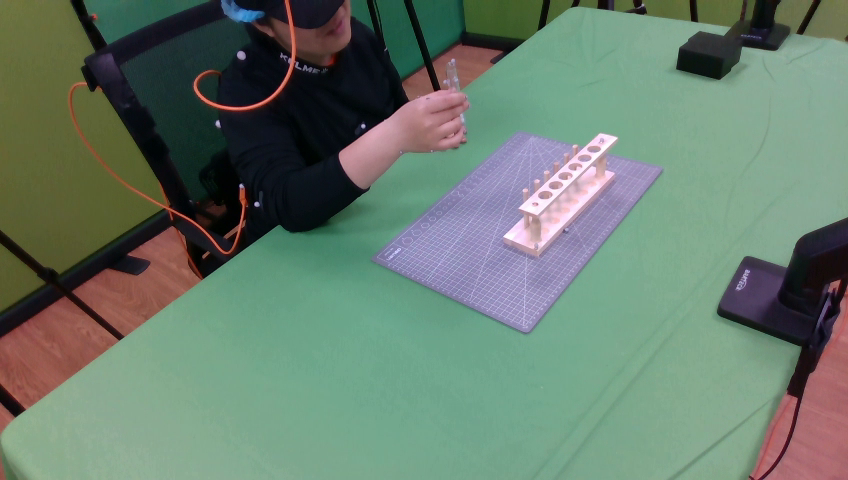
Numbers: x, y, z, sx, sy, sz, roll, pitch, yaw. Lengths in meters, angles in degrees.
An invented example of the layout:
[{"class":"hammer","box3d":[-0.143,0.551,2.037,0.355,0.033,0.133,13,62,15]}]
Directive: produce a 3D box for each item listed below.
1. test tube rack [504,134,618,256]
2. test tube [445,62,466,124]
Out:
[{"class":"test tube rack","box3d":[0.225,-0.083,0.985,0.066,0.085,0.243,25,50,34]},{"class":"test tube","box3d":[0.049,-0.219,0.917,0.017,0.151,0.017,-3,70,9]}]
